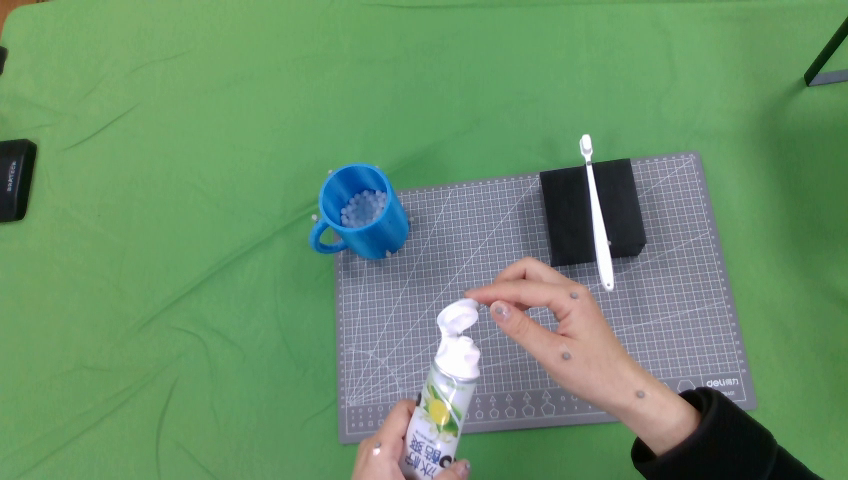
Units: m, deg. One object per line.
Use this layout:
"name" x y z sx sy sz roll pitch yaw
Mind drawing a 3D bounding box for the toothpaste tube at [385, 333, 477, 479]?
"toothpaste tube" 0.005 0.144 0.455 0.054 0.035 0.165 24 106 31

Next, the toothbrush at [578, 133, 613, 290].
"toothbrush" 0.187 -0.035 0.659 0.014 0.017 0.180 -4 73 1

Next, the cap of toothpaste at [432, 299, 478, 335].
"cap of toothpaste" 0.024 0.056 0.441 0.037 0.038 0.011 -26 53 0

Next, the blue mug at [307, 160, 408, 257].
"blue mug" -0.082 -0.025 0.702 0.116 0.106 0.082 -34 71 -2
